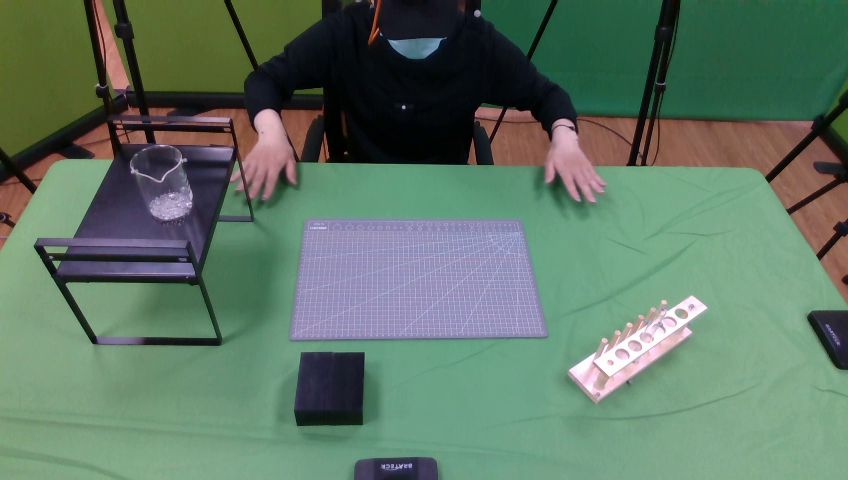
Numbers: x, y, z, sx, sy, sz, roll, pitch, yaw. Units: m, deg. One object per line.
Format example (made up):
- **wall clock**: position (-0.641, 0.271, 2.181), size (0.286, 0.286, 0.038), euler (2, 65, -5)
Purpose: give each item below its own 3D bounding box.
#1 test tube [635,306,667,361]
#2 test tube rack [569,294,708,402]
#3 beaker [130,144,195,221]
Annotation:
- **test tube**: position (0.356, 0.151, 0.961), size (0.017, 0.151, 0.017), euler (0, 51, 0)
- **test tube rack**: position (0.360, 0.167, 1.014), size (0.242, 0.085, 0.066), euler (-25, 53, -25)
- **beaker**: position (-0.403, -0.085, 0.944), size (0.074, 0.101, 0.083), euler (-15, 49, -17)
